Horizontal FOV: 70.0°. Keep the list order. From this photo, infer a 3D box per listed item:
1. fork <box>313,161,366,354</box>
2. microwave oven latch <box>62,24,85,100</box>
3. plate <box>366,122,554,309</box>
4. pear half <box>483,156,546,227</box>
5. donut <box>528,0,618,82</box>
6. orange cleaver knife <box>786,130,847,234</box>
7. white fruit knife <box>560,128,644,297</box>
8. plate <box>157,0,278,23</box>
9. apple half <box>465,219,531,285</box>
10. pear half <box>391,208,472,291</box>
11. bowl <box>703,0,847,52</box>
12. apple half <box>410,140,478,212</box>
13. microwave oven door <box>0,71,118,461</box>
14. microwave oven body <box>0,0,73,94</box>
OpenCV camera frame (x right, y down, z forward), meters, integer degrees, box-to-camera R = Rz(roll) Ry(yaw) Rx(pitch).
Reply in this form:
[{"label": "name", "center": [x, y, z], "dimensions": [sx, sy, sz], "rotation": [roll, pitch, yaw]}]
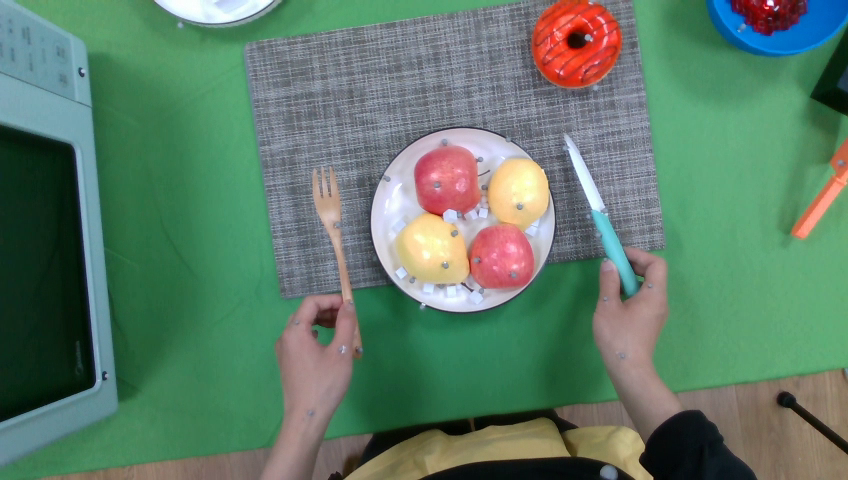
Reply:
[{"label": "fork", "center": [-0.087, 0.020, 0.640], "dimensions": [0.028, 0.019, 0.207], "rotation": [-10, 91, 21]}, {"label": "microwave oven latch", "center": [-0.405, -0.200, 0.685], "dimensions": [0.030, 0.029, 0.079], "rotation": [-4, 91, 2]}, {"label": "plate", "center": [0.040, -0.027, 0.684], "dimensions": [0.209, 0.038, 0.209], "rotation": [0, 90, 2]}, {"label": "pear half", "center": [0.095, -0.050, 0.668], "dimensions": [0.070, 0.031, 0.088], "rotation": [17, 94, 23]}, {"label": "donut", "center": [0.164, -0.224, 0.673], "dimensions": [0.099, 0.048, 0.099], "rotation": [0, 91, 5]}, {"label": "orange cleaver knife", "center": [0.457, -0.101, 0.647], "dimensions": [0.012, 0.077, 0.212], "rotation": [29, 117, 7]}, {"label": "white fruit knife", "center": [0.191, -0.032, 0.669], "dimensions": [0.027, 0.016, 0.206], "rotation": [-11, 75, -38]}, {"label": "plate", "center": [-0.233, -0.349, 0.695], "dimensions": [0.207, 0.039, 0.207], "rotation": [0, 90, 2]}, {"label": "apple half", "center": [0.075, 0.014, 0.666], "dimensions": [0.081, 0.033, 0.081], "rotation": [2, 95, 24]}, {"label": "pear half", "center": [0.015, 0.017, 0.671], "dimensions": [0.110, 0.056, 0.076], "rotation": [43, 96, -1]}, {"label": "bowl", "center": [0.365, -0.269, 0.651], "dimensions": [0.151, 0.077, 0.151], "rotation": [0, 91, 2]}, {"label": "apple half", "center": [0.021, -0.071, 0.666], "dimensions": [0.074, 0.053, 0.081], "rotation": [-3, 94, 3]}, {"label": "microwave oven door", "center": [-0.393, 0.019, 0.586], "dimensions": [0.039, 0.244, 0.355], "rotation": [-5, 90, 3]}, {"label": "microwave oven body", "center": [-0.542, -0.011, 0.597], "dimensions": [0.326, 0.260, 0.441], "rotation": [-5, 91, 2]}]
